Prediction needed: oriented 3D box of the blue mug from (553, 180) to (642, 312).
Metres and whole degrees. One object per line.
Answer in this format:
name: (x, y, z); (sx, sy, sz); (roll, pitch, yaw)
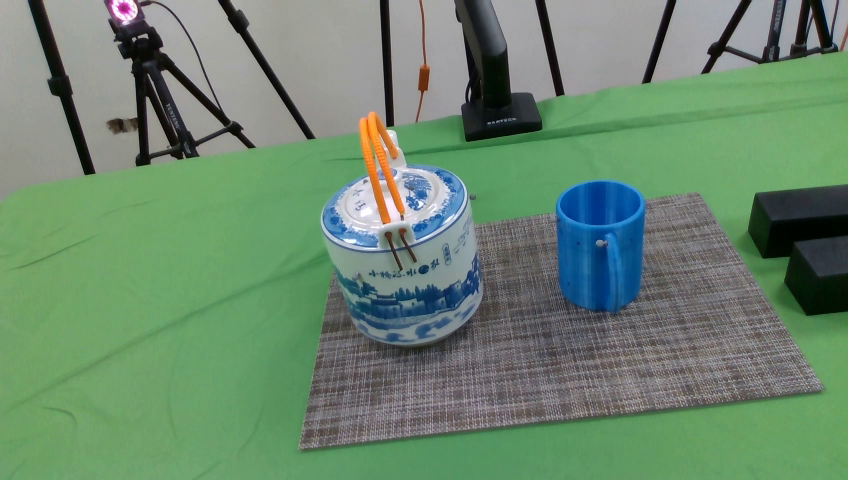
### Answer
blue mug: (0.174, 0.015, 0.595); (0.082, 0.107, 0.115); (-8, 37, 6)

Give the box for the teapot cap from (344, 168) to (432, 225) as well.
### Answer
teapot cap: (-0.034, -0.044, 0.565); (0.085, 0.044, 0.084); (-5, 36, 4)

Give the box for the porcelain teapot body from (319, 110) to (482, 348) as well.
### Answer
porcelain teapot body: (-0.030, -0.029, 0.610); (0.145, 0.227, 0.203); (-13, 37, 0)
